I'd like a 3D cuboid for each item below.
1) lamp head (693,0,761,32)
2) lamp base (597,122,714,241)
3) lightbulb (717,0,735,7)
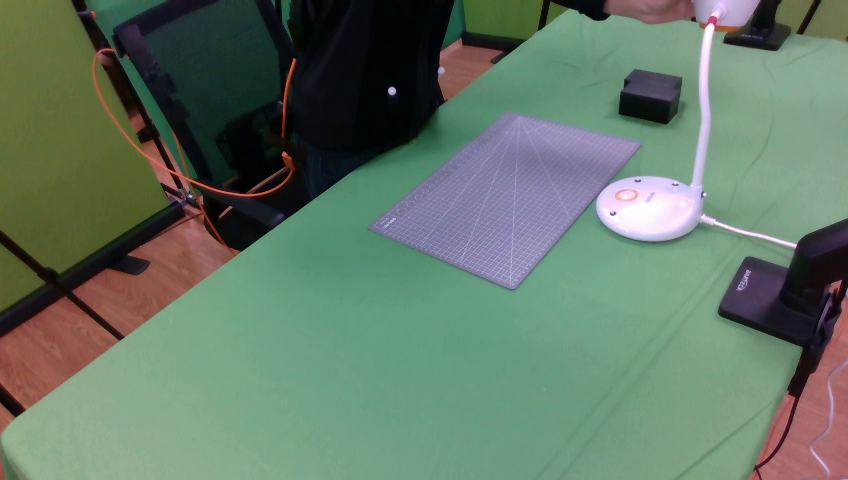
[{"bbox_3d":[0.438,-0.362,0.868,0.112,0.123,0.112,2,28,0],"label":"lamp head"},{"bbox_3d":[0.363,-0.109,0.921,0.178,0.181,0.160,13,45,21],"label":"lamp base"},{"bbox_3d":[0.436,-0.389,0.861,0.059,0.108,0.059,-6,29,4],"label":"lightbulb"}]
